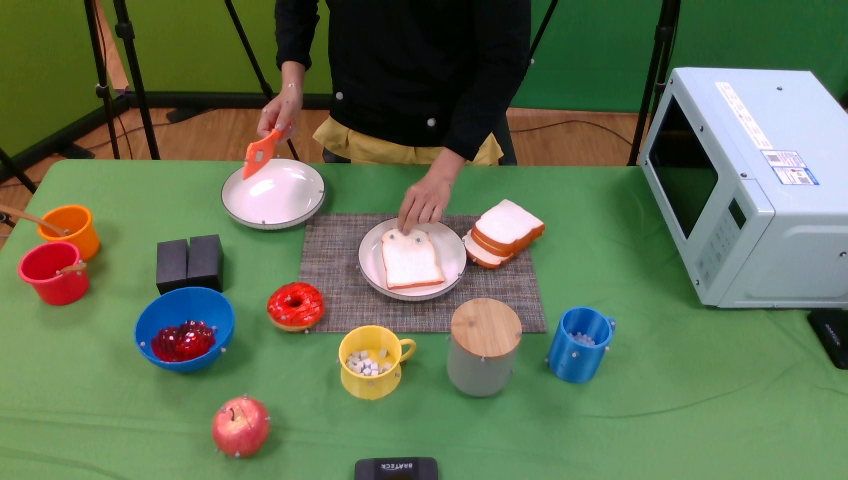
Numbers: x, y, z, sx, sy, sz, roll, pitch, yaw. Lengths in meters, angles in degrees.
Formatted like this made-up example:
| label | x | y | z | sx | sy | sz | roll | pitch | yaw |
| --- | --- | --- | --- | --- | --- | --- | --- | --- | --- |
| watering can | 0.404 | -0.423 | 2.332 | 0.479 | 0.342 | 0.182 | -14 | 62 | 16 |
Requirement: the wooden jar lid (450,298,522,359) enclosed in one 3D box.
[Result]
| label | x | y | z | sx | sy | sz | roll | pitch | yaw |
| --- | --- | --- | --- | --- | --- | --- | --- | --- | --- |
| wooden jar lid | 0.093 | 0.135 | 0.914 | 0.108 | 0.021 | 0.107 | 2 | 48 | -3 |

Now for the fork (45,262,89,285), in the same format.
| label | x | y | z | sx | sy | sz | roll | pitch | yaw |
| --- | --- | --- | --- | --- | --- | --- | --- | --- | --- |
| fork | -0.598 | 0.054 | 1.014 | 0.207 | 0.019 | 0.028 | -15 | 29 | 46 |

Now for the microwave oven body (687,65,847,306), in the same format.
| label | x | y | z | sx | sy | sz | roll | pitch | yaw |
| --- | --- | --- | --- | --- | --- | --- | --- | --- | --- |
| microwave oven body | 0.669 | -0.111 | 1.176 | 0.326 | 0.261 | 0.439 | 0 | 46 | -3 |

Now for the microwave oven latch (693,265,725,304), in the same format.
| label | x | y | z | sx | sy | sz | roll | pitch | yaw |
| --- | --- | --- | --- | --- | --- | --- | --- | --- | --- |
| microwave oven latch | 0.522 | 0.081 | 1.115 | 0.030 | 0.029 | 0.078 | 2 | 46 | -1 |

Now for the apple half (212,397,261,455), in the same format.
| label | x | y | z | sx | sy | sz | roll | pitch | yaw |
| --- | --- | --- | --- | --- | --- | --- | --- | --- | --- |
| apple half | -0.276 | 0.276 | 0.877 | 0.053 | 0.075 | 0.080 | -29 | 58 | -21 |

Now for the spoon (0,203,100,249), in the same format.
| label | x | y | z | sx | sy | sz | roll | pitch | yaw |
| --- | --- | --- | --- | --- | --- | --- | --- | --- | --- |
| spoon | -0.683 | -0.031 | 1.088 | 0.195 | 0.021 | 0.041 | 33 | 33 | -38 |

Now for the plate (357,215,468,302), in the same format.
| label | x | y | z | sx | sy | sz | roll | pitch | yaw |
| --- | --- | --- | --- | --- | --- | --- | --- | --- | --- |
| plate | -0.022 | 0.037 | 1.141 | 0.208 | 0.039 | 0.206 | 2 | 46 | -2 |

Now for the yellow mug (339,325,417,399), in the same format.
| label | x | y | z | sx | sy | sz | roll | pitch | yaw |
| --- | --- | --- | --- | --- | --- | --- | --- | --- | --- |
| yellow mug | -0.072 | 0.190 | 0.978 | 0.131 | 0.064 | 0.099 | -17 | 50 | -20 |

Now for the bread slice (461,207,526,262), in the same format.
| label | x | y | z | sx | sy | sz | roll | pitch | yaw |
| --- | --- | --- | --- | --- | --- | --- | --- | --- | --- |
| bread slice | 0.126 | -0.009 | 1.194 | 0.104 | 0.019 | 0.131 | 20 | 50 | 25 |

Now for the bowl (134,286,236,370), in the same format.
| label | x | y | z | sx | sy | sz | roll | pitch | yaw |
| --- | --- | --- | --- | --- | --- | --- | --- | --- | --- |
| bowl | -0.377 | 0.155 | 0.981 | 0.151 | 0.077 | 0.150 | 2 | 46 | -2 |

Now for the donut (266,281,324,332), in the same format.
| label | x | y | z | sx | sy | sz | roll | pitch | yaw |
| --- | --- | --- | --- | --- | --- | --- | --- | --- | --- |
| donut | -0.222 | 0.114 | 1.049 | 0.099 | 0.048 | 0.098 | 2 | 45 | -2 |

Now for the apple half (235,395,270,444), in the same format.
| label | x | y | z | sx | sy | sz | roll | pitch | yaw |
| --- | --- | --- | --- | --- | --- | --- | --- | --- | --- |
| apple half | -0.245 | 0.259 | 0.893 | 0.033 | 0.082 | 0.081 | -29 | 55 | -22 |

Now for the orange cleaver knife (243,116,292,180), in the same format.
| label | x | y | z | sx | sy | sz | roll | pitch | yaw |
| --- | --- | --- | --- | --- | --- | --- | --- | --- | --- |
| orange cleaver knife | -0.299 | -0.181 | 1.165 | 0.012 | 0.077 | 0.210 | 17 | 32 | 2 |

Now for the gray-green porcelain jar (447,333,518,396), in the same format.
| label | x | y | z | sx | sy | sz | roll | pitch | yaw |
| --- | --- | --- | --- | --- | --- | --- | --- | --- | --- |
| gray-green porcelain jar | 0.091 | 0.178 | 0.960 | 0.106 | 0.127 | 0.105 | 2 | 46 | -2 |

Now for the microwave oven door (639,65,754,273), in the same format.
| label | x | y | z | sx | sy | sz | roll | pitch | yaw |
| --- | --- | --- | --- | --- | --- | --- | --- | --- | --- |
| microwave oven door | 0.522 | -0.147 | 1.193 | 0.039 | 0.245 | 0.353 | 0 | 47 | -3 |

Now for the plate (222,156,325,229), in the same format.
| label | x | y | z | sx | sy | sz | roll | pitch | yaw |
| --- | --- | --- | --- | --- | --- | --- | --- | --- | --- |
| plate | -0.308 | -0.095 | 1.251 | 0.209 | 0.038 | 0.208 | 2 | 46 | -2 |

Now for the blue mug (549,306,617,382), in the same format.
| label | x | y | z | sx | sy | sz | roll | pitch | yaw |
| --- | --- | --- | --- | --- | --- | --- | --- | --- | --- |
| blue mug | 0.269 | 0.166 | 0.998 | 0.116 | 0.106 | 0.082 | -19 | 51 | -21 |

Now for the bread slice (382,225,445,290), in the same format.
| label | x | y | z | sx | sy | sz | roll | pitch | yaw |
| --- | --- | --- | --- | --- | --- | --- | --- | --- | --- |
| bread slice | -0.029 | 0.032 | 1.139 | 0.107 | 0.018 | 0.133 | -7 | 60 | -16 |
